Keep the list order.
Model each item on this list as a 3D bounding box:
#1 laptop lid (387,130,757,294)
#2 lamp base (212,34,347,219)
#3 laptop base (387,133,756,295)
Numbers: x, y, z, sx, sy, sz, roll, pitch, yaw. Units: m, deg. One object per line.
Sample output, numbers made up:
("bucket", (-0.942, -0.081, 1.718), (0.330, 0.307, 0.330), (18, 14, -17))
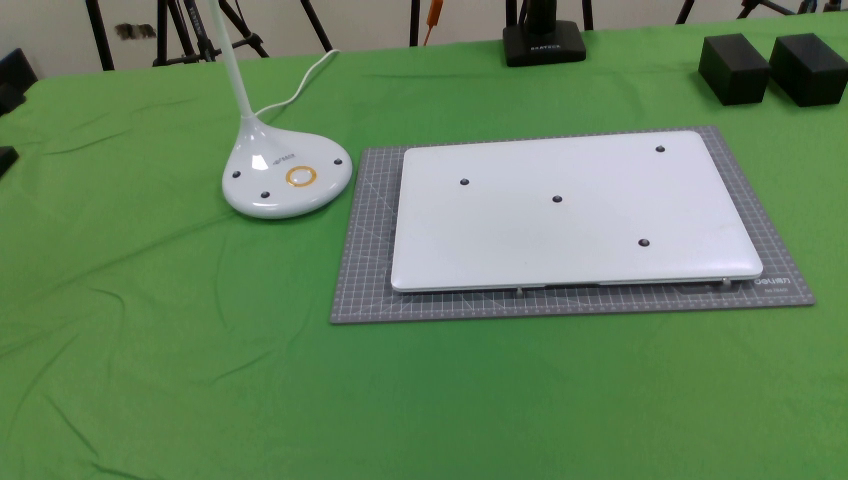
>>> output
("laptop lid", (0.140, -0.040, 0.654), (0.356, 0.013, 0.239), (-2, 45, 6))
("lamp base", (-0.192, -0.141, 0.708), (0.177, 0.182, 0.160), (26, 52, 34))
("laptop base", (0.142, -0.033, 0.664), (0.354, 0.023, 0.233), (-3, 46, 5))
